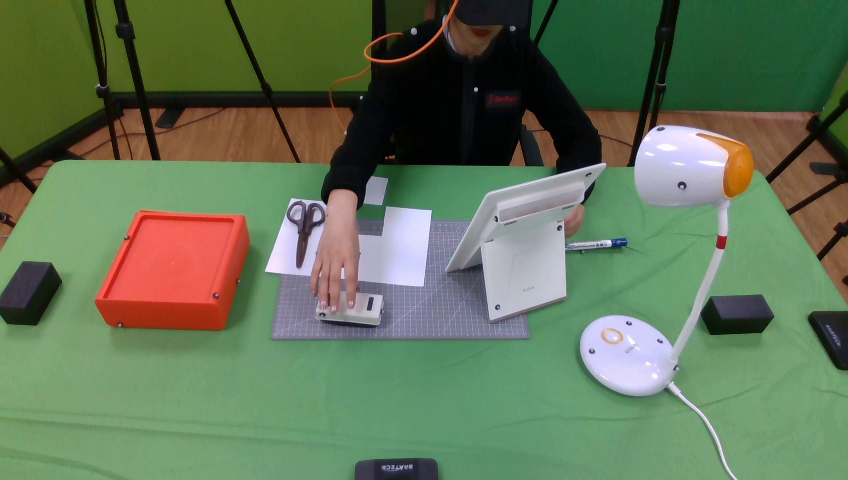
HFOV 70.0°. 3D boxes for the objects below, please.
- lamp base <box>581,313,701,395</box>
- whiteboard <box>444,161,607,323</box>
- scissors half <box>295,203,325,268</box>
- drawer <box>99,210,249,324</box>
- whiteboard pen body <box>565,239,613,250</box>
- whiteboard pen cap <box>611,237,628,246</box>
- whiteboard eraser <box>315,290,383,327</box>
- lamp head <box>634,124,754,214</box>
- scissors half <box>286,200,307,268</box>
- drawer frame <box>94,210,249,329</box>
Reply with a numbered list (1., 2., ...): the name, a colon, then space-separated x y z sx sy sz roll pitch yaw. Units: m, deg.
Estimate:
1. lamp base: 0.361 0.144 0.973 0.178 0.181 0.160 34 53 23
2. whiteboard: 0.186 0.025 1.029 0.217 0.306 0.143 -14 68 -18
3. scissors half: -0.230 -0.010 1.196 0.040 0.013 0.174 16 47 -5
4. drawer: -0.435 0.044 1.081 0.194 0.073 0.210 3 47 -2
5. whiteboard pen body: 0.331 0.008 1.212 0.141 0.017 0.017 -5 47 -4
6. whiteboard pen cap: 0.390 0.004 1.215 0.033 0.018 0.018 -7 47 -2
7. whiteboard eraser: -0.130 0.120 1.055 0.113 0.042 0.055 6 47 1
8. lamp head: 0.351 -0.089 0.776 0.112 0.113 0.122 -30 30 -28
9. scissors half: -0.250 -0.013 1.193 0.040 0.013 0.174 -2 50 -14
10. drawer frame: -0.435 0.048 1.076 0.202 0.083 0.212 2 47 -3
